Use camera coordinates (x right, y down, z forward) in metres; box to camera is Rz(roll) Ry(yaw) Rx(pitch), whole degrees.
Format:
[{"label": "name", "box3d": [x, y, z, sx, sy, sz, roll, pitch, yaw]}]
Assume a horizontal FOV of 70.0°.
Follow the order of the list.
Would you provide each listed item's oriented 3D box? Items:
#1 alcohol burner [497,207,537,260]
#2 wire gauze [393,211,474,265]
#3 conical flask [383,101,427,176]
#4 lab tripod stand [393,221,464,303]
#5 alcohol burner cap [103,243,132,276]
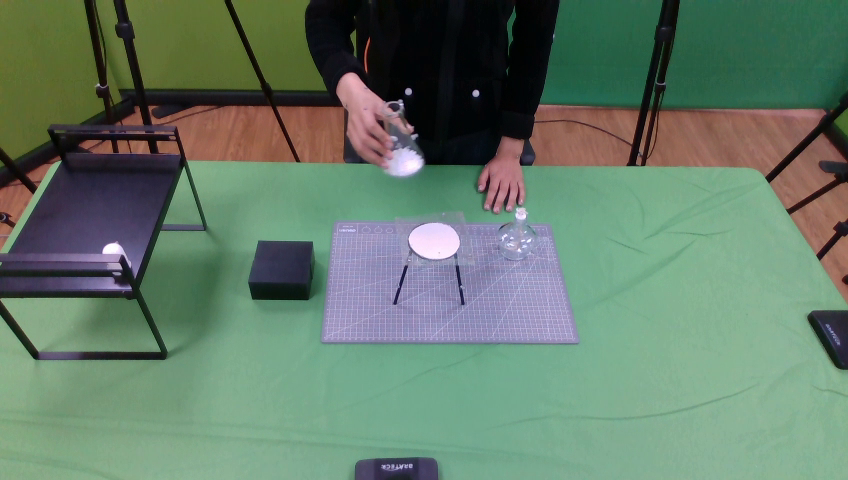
[{"label": "alcohol burner", "box3d": [0.180, -0.019, 1.163, 0.078, 0.120, 0.077, 1, 48, -1]}, {"label": "wire gauze", "box3d": [0.015, -0.003, 1.028, 0.125, 0.011, 0.120, -4, 47, -7]}, {"label": "conical flask", "box3d": [-0.039, -0.170, 1.003, 0.075, 0.122, 0.075, -5, 49, 6]}, {"label": "lab tripod stand", "box3d": [0.010, 0.045, 1.074, 0.148, 0.132, 0.147, 2, 48, -2]}, {"label": "alcohol burner cap", "box3d": [-0.446, 0.025, 0.875, 0.034, 0.048, 0.033, 3, 46, -3]}]
